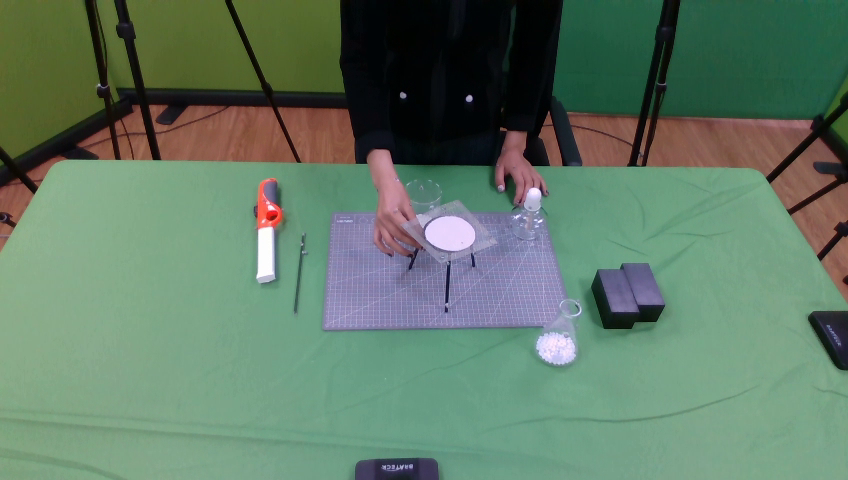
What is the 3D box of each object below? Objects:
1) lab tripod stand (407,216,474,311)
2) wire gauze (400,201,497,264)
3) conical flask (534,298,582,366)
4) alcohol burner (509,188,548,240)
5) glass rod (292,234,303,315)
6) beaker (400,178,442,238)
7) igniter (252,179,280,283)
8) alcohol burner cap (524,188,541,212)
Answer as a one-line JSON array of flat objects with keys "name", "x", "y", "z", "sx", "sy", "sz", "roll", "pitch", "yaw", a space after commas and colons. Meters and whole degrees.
[{"name": "lab tripod stand", "x": 0.039, "y": 0.030, "z": 1.092, "sx": 0.148, "sy": 0.132, "sz": 0.147, "roll": 2, "pitch": 44, "yaw": -2}, {"name": "wire gauze", "x": 0.042, "y": -0.014, "z": 1.042, "sx": 0.125, "sy": 0.011, "sz": 0.120, "roll": -22, "pitch": 50, "yaw": -25}, {"name": "conical flask", "x": 0.229, "y": 0.149, "z": 1.005, "sx": 0.075, "sy": 0.122, "sz": 0.075, "roll": 2, "pitch": 46, "yaw": -2}, {"name": "alcohol burner", "x": 0.211, "y": -0.057, "z": 1.204, "sx": 0.078, "sy": 0.120, "sz": 0.077, "roll": 1, "pitch": 47, "yaw": -1}, {"name": "glass rod", "x": -0.236, "y": 0.059, "z": 1.133, "sx": 0.008, "sy": 0.008, "sz": 0.198, "roll": -1, "pitch": 46, "yaw": -4}, {"name": "beaker", "x": -0.009, "y": -0.059, "z": 1.200, "sx": 0.084, "sy": 0.101, "sz": 0.073, "roll": -15, "pitch": 48, "yaw": -17}, {"name": "igniter", "x": -0.312, "y": -0.027, "z": 1.197, "sx": 0.057, "sy": 0.025, "sz": 0.274, "roll": -12, "pitch": 47, "yaw": -2}, {"name": "alcohol burner cap", "x": 0.212, "y": -0.081, "z": 1.177, "sx": 0.034, "sy": 0.048, "sz": 0.033, "roll": -2, "pitch": 54, "yaw": 3}]
